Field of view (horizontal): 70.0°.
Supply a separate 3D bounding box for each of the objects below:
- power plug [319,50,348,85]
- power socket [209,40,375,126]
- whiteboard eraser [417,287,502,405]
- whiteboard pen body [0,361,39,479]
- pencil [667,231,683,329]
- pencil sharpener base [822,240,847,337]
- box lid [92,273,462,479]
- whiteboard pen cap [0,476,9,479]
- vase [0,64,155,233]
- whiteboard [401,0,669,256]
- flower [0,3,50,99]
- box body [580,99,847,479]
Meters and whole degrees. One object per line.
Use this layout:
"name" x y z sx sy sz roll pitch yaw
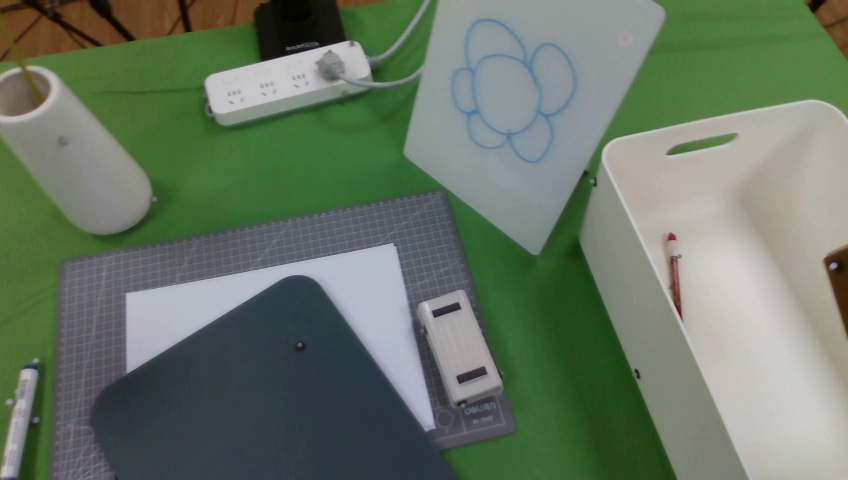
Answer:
"power plug" -0.115 -0.210 0.774 0.035 0.053 0.072 -8 64 -4
"power socket" -0.173 -0.208 0.799 0.227 0.033 0.071 -17 64 -9
"whiteboard eraser" 0.035 0.108 0.623 0.056 0.042 0.111 -16 63 -11
"whiteboard pen body" -0.396 0.186 0.592 0.017 0.017 0.139 -8 58 -4
"pencil" 0.276 0.077 0.657 0.012 0.012 0.192 5 64 3
"pencil sharpener base" 0.346 0.027 0.419 0.061 0.107 0.076 -2 71 -6
"box lid" -0.130 0.223 0.581 0.263 0.015 0.368 -33 68 -17
"whiteboard pen cap" -0.390 0.235 0.561 0.018 0.018 0.033 -7 56 -4
"vase" -0.367 -0.089 0.640 0.098 0.201 0.097 0 61 1
"whiteboard" 0.128 -0.175 0.663 0.215 0.307 0.144 40 50 20
"flower" -0.364 -0.145 0.577 0.038 0.365 0.043 -23 46 -19
"box body" 0.328 0.069 0.580 0.254 0.161 0.360 -12 63 -7
